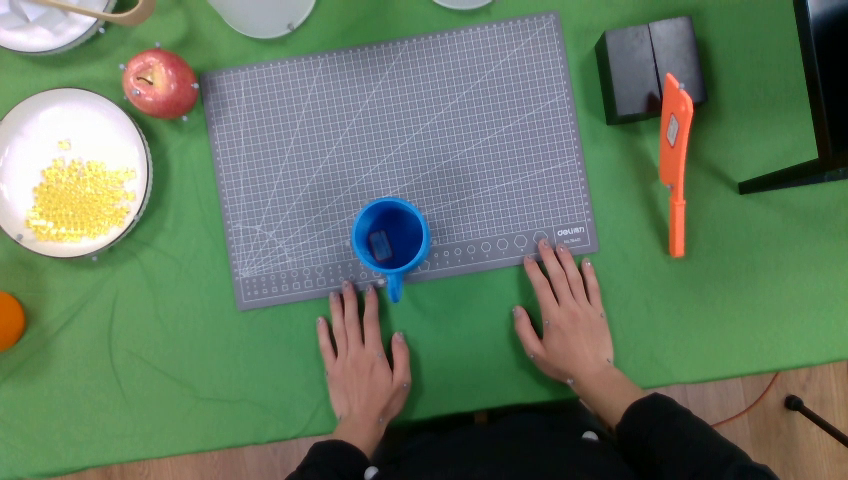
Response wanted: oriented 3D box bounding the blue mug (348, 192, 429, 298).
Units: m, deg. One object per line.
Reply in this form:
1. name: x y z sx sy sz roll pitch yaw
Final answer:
1. blue mug: -0.037 0.009 0.692 0.082 0.106 0.116 -1 89 2

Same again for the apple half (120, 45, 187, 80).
1. apple half: -0.326 -0.211 0.723 0.081 0.081 0.033 -24 93 2

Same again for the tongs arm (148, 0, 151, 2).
1. tongs arm: -0.479 -0.397 0.720 0.387 0.028 0.028 33 83 4

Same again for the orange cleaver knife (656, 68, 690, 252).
1. orange cleaver knife: 0.282 -0.087 0.695 0.012 0.076 0.213 -10 119 1

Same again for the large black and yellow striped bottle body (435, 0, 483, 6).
1. large black and yellow striped bottle body: 0.039 -0.353 0.659 0.131 0.184 0.130 0 88 3

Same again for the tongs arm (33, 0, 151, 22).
1. tongs arm: -0.513 -0.321 0.718 0.384 0.026 0.050 19 86 4

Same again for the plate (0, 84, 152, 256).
1. plate: -0.433 -0.084 0.743 0.209 0.038 0.209 0 89 2

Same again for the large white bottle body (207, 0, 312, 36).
1. large white bottle body: -0.203 -0.320 0.666 0.130 0.185 0.130 0 88 2

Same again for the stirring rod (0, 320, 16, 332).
1. stirring rod: -0.572 0.105 0.691 0.177 0.006 0.014 0 76 -38

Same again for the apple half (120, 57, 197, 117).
1. apple half: -0.309 -0.175 0.724 0.081 0.074 0.053 -24 92 -2

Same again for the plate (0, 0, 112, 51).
1. plate: -0.475 -0.334 0.749 0.207 0.039 0.207 0 89 2

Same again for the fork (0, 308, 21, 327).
1. fork: -0.583 0.086 0.689 0.209 0.018 0.028 9 87 -41
